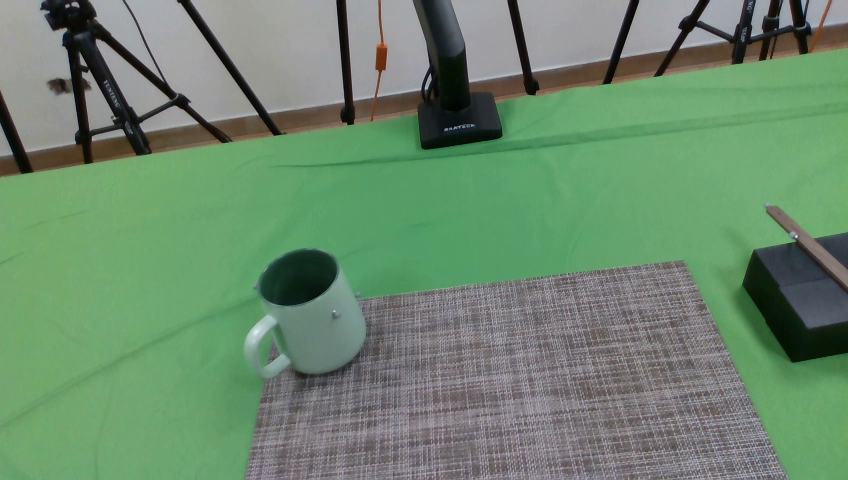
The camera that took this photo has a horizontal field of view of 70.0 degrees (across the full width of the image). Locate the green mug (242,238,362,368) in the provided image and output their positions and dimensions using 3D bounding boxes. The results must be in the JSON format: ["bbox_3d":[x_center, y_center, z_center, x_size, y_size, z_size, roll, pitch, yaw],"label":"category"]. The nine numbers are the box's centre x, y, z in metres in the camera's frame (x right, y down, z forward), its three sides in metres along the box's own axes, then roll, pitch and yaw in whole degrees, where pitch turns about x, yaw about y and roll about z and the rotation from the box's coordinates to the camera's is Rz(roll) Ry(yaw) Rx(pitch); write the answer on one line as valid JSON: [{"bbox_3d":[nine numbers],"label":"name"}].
[{"bbox_3d":[-0.124,0.072,0.594,0.092,0.106,0.125,23,53,30],"label":"green mug"}]

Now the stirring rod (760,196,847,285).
[{"bbox_3d":[0.374,0.012,0.565,0.014,0.006,0.174,-13,44,-7],"label":"stirring rod"}]
